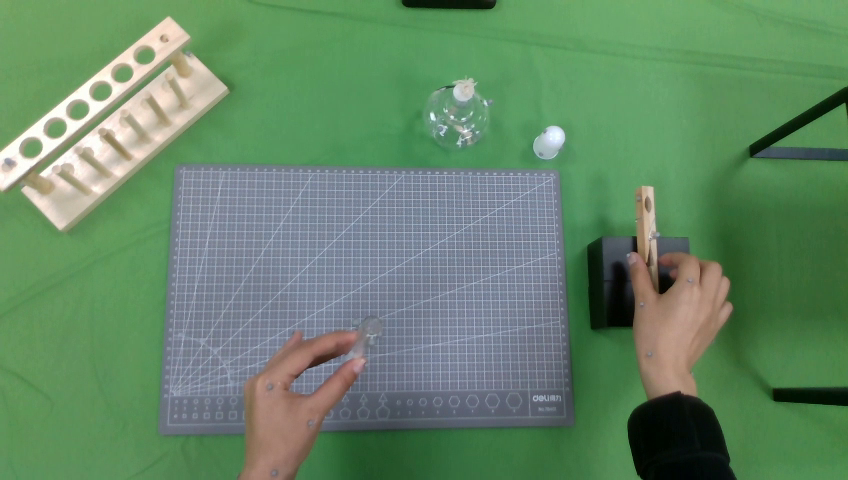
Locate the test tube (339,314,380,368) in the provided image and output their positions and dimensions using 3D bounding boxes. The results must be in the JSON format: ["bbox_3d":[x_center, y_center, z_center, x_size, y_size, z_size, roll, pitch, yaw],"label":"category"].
[{"bbox_3d":[-0.057,0.090,0.520,0.017,0.151,0.017,5,67,-13],"label":"test tube"}]

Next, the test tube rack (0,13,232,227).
[{"bbox_3d":[-0.332,-0.127,0.657,0.066,0.085,0.242,44,79,5],"label":"test tube rack"}]

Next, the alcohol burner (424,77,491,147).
[{"bbox_3d":[0.040,-0.150,0.682,0.078,0.119,0.077,1,78,-6],"label":"alcohol burner"}]

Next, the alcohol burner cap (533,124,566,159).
[{"bbox_3d":[0.152,-0.119,0.723,0.034,0.048,0.033,1,78,-5],"label":"alcohol burner cap"}]

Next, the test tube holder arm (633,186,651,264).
[{"bbox_3d":[0.243,-0.017,0.673,0.010,0.015,0.087,1,80,-11],"label":"test tube holder arm"}]

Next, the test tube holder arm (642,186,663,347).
[{"bbox_3d":[0.249,0.028,0.667,0.013,0.015,0.177,0,80,-11],"label":"test tube holder arm"}]
